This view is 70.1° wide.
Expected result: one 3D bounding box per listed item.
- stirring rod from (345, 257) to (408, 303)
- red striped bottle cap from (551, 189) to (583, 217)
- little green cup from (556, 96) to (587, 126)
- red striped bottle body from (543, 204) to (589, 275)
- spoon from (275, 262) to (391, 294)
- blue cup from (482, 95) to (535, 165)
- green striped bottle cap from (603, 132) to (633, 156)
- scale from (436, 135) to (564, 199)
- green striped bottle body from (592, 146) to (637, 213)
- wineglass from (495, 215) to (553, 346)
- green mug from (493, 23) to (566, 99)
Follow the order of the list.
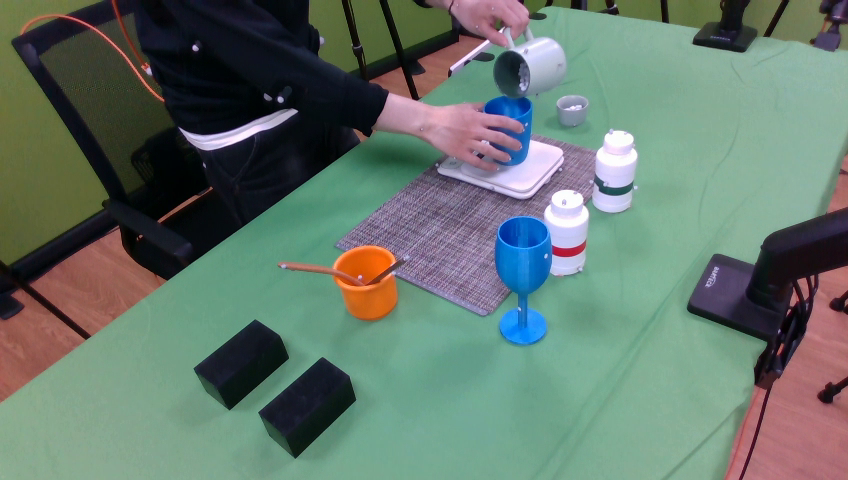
[{"bbox_3d":[-0.067,0.056,0.814,0.014,0.175,0.006,-22,81,-37],"label":"stirring rod"},{"bbox_3d":[0.200,-0.052,0.843,0.044,0.018,0.044,-2,42,3],"label":"red striped bottle cap"},{"bbox_3d":[0.295,-0.258,1.214,0.061,0.039,0.061,-4,41,4],"label":"little green cup"},{"bbox_3d":[0.206,-0.011,0.877,0.063,0.120,0.062,-4,41,4],"label":"red striped bottle body"},{"bbox_3d":[-0.120,0.050,0.830,0.041,0.195,0.021,31,97,45],"label":"spoon"},{"bbox_3d":[0.148,-0.187,1.053,0.092,0.101,0.092,-6,40,6],"label":"blue cup"},{"bbox_3d":[0.302,-0.149,0.939,0.044,0.020,0.044,-3,40,3],"label":"green striped bottle cap"},{"bbox_3d":[0.137,-0.142,1.101,0.199,0.032,0.149,22,48,30],"label":"scale"},{"bbox_3d":[0.307,-0.108,0.976,0.063,0.120,0.063,-4,40,4],"label":"green striped bottle body"},{"bbox_3d":[0.127,0.054,0.770,0.074,0.173,0.073,-4,40,4],"label":"wineglass"},{"bbox_3d":[0.174,-0.307,1.031,0.105,0.125,0.092,-28,8,-38],"label":"green mug"}]
